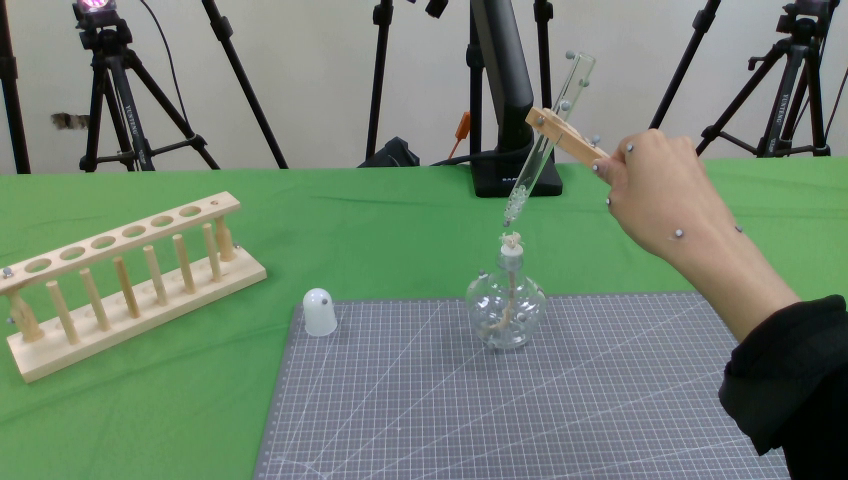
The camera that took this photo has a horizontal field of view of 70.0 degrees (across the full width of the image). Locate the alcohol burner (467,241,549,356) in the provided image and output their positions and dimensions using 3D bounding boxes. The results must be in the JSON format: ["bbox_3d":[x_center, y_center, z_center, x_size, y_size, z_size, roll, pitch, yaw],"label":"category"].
[{"bbox_3d":[0.080,0.049,0.566,0.078,0.120,0.077,0,35,0],"label":"alcohol burner"}]

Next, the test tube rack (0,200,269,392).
[{"bbox_3d":[-0.288,0.047,0.613,0.243,0.086,0.066,-26,40,-32],"label":"test tube rack"}]

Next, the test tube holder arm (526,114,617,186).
[{"bbox_3d":[0.114,-0.071,0.468,0.010,0.015,0.087,-12,46,-45],"label":"test tube holder arm"}]

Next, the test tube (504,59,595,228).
[{"bbox_3d":[0.099,-0.073,0.492,0.017,0.151,0.017,16,30,-9],"label":"test tube"}]

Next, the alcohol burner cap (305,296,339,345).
[{"bbox_3d":[-0.102,0.076,0.597,0.034,0.048,0.033,0,34,0],"label":"alcohol burner cap"}]

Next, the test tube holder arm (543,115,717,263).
[{"bbox_3d":[0.143,-0.044,0.447,0.013,0.015,0.176,-5,41,-38],"label":"test tube holder arm"}]
